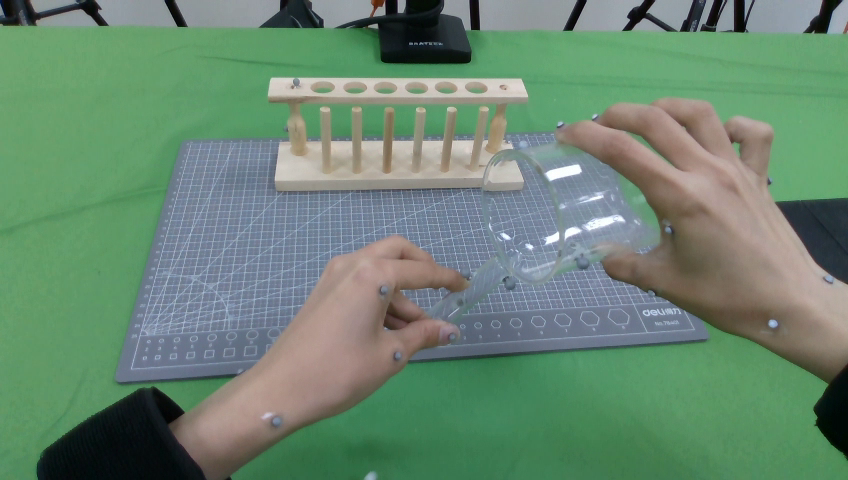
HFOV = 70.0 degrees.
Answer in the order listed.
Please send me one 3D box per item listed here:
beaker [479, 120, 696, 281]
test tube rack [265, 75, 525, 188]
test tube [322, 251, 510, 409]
[{"bbox_3d":[0.092,-0.024,0.340,0.100,0.084,0.073,-15,56,-22],"label":"beaker"},{"bbox_3d":[-0.026,-0.106,0.591,0.243,0.086,0.066,-2,44,-7],"label":"test tube rack"},{"bbox_3d":[-0.009,0.058,0.371,0.150,0.017,0.017,-41,46,15],"label":"test tube"}]
